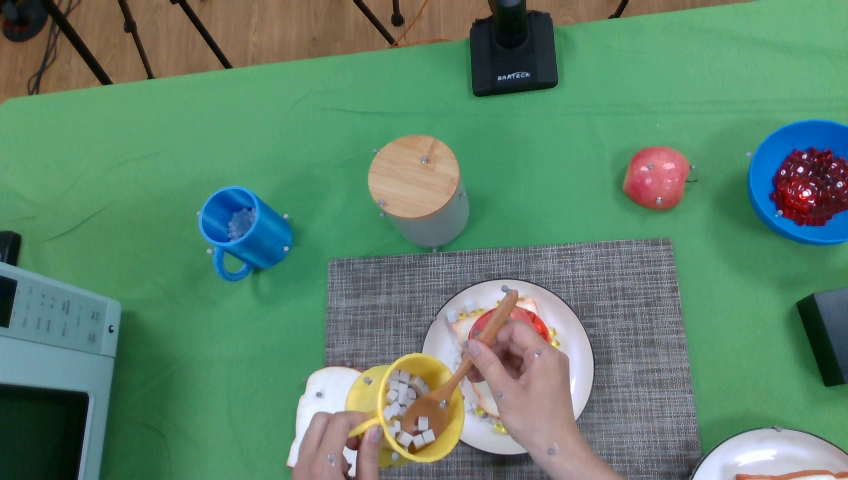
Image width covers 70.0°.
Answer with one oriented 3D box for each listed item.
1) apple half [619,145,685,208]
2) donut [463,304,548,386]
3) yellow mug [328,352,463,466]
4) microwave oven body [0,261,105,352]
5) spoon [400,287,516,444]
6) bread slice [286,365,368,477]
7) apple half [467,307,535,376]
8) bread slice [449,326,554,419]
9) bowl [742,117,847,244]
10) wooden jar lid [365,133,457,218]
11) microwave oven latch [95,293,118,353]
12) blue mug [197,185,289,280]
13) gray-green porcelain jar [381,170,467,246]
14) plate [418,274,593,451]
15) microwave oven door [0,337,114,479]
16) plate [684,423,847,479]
[{"bbox_3d":[0.289,-0.086,0.765,0.074,0.054,0.080,18,78,18],"label":"apple half"},{"bbox_3d":[0.096,0.122,0.711,0.099,0.048,0.098,-3,73,10],"label":"donut"},{"bbox_3d":[-0.032,0.167,0.579,0.131,0.064,0.099,-10,76,-39],"label":"yellow mug"},{"bbox_3d":[-0.601,0.262,0.707,0.325,0.262,0.439,-4,73,9],"label":"microwave oven body"},{"bbox_3d":[0.033,0.121,0.564,0.041,0.021,0.194,31,116,-1],"label":"spoon"},{"bbox_3d":[-0.115,0.223,0.760,0.104,0.019,0.131,4,76,10],"label":"bread slice"},{"bbox_3d":[0.086,0.111,0.677,0.081,0.033,0.081,-6,69,15],"label":"apple half"},{"bbox_3d":[0.100,0.150,0.743,0.107,0.018,0.133,-20,62,-1],"label":"bread slice"},{"bbox_3d":[0.447,-0.059,0.713,0.151,0.077,0.150,-3,73,10],"label":"bowl"},{"bbox_3d":[-0.015,-0.074,0.710,0.108,0.021,0.107,-3,71,7],"label":"wooden jar lid"},{"bbox_3d":[-0.440,0.113,0.826,0.030,0.030,0.078,0,74,10],"label":"microwave oven latch"},{"bbox_3d":[-0.245,-0.002,0.809,0.082,0.106,0.116,17,77,15],"label":"blue mug"},{"bbox_3d":[-0.002,-0.055,0.770,0.105,0.127,0.105,-3,72,10],"label":"gray-green porcelain jar"},{"bbox_3d":[0.096,0.146,0.733,0.207,0.039,0.206,-3,73,10],"label":"plate"},{"bbox_3d":[-0.458,0.292,0.667,0.039,0.245,0.353,-4,72,10],"label":"microwave oven door"},{"bbox_3d":[0.375,0.301,0.638,0.209,0.038,0.208,-3,73,10],"label":"plate"}]
